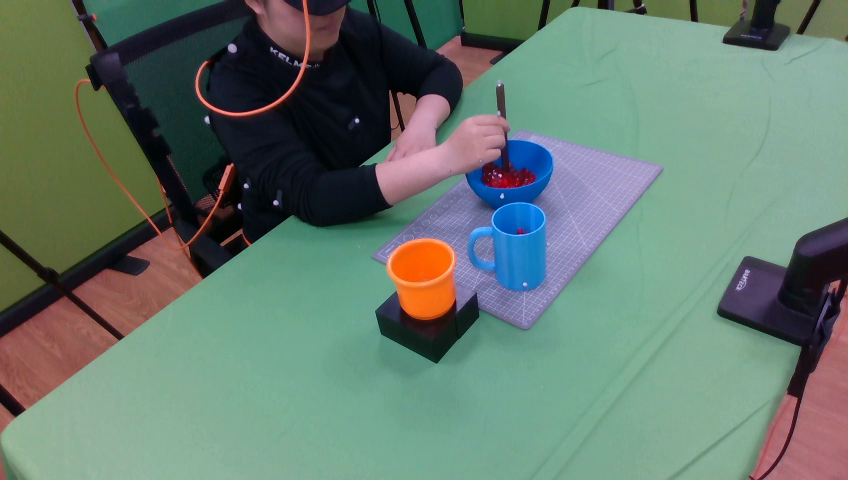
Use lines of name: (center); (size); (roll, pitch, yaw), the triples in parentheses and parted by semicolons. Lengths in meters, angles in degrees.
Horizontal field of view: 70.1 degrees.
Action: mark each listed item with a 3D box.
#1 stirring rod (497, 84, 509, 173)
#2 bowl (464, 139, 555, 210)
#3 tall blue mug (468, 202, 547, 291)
stirring rod: (0.130, -0.179, 0.991); (0.014, 0.177, 0.005); (-33, 50, -18)
bowl: (0.145, -0.100, 1.025); (0.151, 0.077, 0.150); (-5, 40, 5)
tall blue mug: (0.125, 0.015, 0.869); (0.107, 0.108, 0.077); (-21, 42, -14)
